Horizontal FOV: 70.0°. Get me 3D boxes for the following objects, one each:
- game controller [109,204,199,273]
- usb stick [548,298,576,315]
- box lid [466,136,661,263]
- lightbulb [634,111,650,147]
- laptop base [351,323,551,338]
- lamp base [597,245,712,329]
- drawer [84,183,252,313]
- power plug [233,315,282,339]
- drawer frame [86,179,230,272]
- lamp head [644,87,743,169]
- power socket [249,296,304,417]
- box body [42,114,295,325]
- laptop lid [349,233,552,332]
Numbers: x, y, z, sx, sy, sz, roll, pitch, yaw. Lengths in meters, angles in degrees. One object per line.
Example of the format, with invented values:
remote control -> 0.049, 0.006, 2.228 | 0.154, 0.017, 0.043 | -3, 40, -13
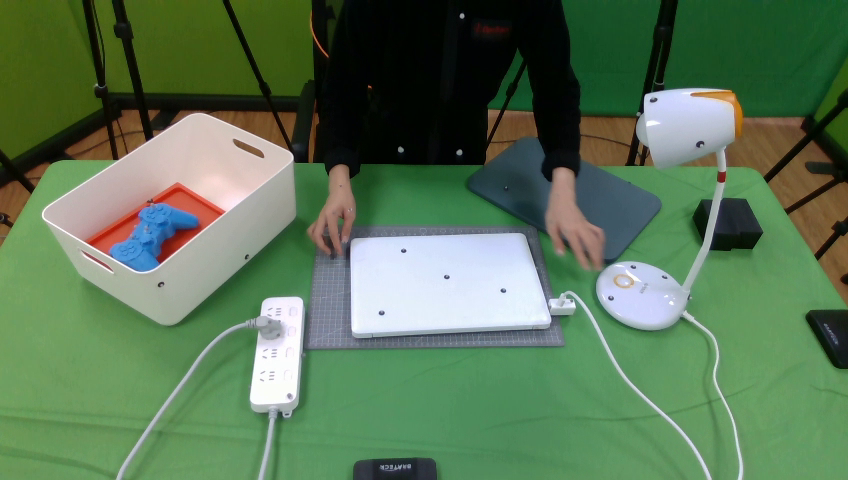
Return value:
game controller -> -0.467, -0.005, 1.044 | 0.097, 0.052, 0.154 | 8, 45, 10
usb stick -> 0.240, 0.120, 1.086 | 0.059, 0.027, 0.021 | -2, 51, -2
box lid -> 0.306, -0.102, 1.327 | 0.370, 0.015, 0.263 | 32, 52, 25
lightbulb -> 0.348, -0.163, 0.852 | 0.059, 0.060, 0.107 | -36, 19, -32
laptop base -> 0.040, 0.081, 1.126 | 0.355, 0.023, 0.234 | -2, 43, -6
lamp base -> 0.418, 0.051, 1.072 | 0.179, 0.181, 0.160 | 22, 49, 13
drawer -> -0.457, 0.008, 1.099 | 0.194, 0.073, 0.211 | 29, 49, 21
power plug -> -0.271, 0.143, 0.999 | 0.072, 0.053, 0.035 | 7, 47, 3
drawer frame -> -0.453, 0.010, 1.100 | 0.201, 0.083, 0.213 | 28, 55, 23
lamp head -> 0.380, -0.161, 0.851 | 0.122, 0.113, 0.112 | -4, 42, 25
power socket -> -0.239, 0.182, 0.996 | 0.072, 0.033, 0.225 | -2, 47, -5
box body -> -0.437, -0.046, 1.110 | 0.253, 0.161, 0.363 | 24, 49, 19
laptop lid -> 0.040, 0.071, 1.119 | 0.357, 0.013, 0.240 | -1, 44, -5
